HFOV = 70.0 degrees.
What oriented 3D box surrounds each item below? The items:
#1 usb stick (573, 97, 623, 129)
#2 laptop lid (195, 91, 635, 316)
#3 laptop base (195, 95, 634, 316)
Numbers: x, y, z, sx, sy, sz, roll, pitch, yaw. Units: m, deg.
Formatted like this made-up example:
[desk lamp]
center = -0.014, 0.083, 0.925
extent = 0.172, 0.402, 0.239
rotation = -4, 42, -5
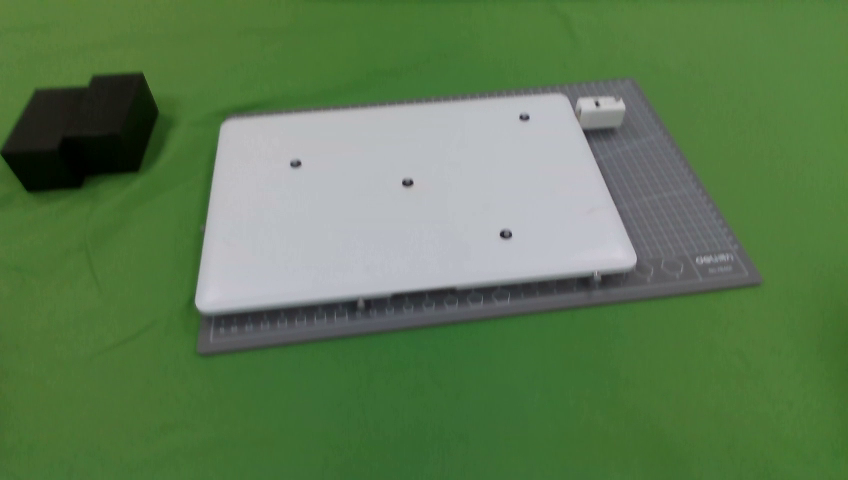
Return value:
[usb stick]
center = 0.167, -0.128, 0.611
extent = 0.059, 0.027, 0.021
rotation = -5, 51, -2
[laptop lid]
center = -0.015, -0.048, 0.543
extent = 0.357, 0.013, 0.239
rotation = -4, 51, -3
[laptop base]
center = -0.015, -0.042, 0.554
extent = 0.355, 0.023, 0.233
rotation = -6, 52, -4
